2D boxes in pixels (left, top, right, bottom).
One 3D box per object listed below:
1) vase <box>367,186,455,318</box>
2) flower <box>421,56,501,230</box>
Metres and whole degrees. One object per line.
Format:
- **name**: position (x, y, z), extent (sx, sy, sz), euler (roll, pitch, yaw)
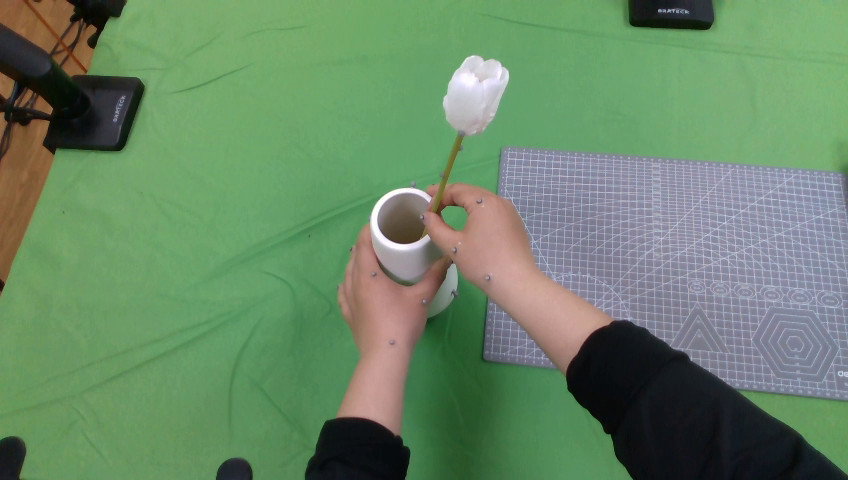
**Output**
- **vase**: position (-0.013, 0.017, 0.669), extent (0.098, 0.201, 0.097), euler (-1, 66, 2)
- **flower**: position (0.002, -0.024, 0.573), extent (0.044, 0.364, 0.038), euler (-21, 64, -25)
